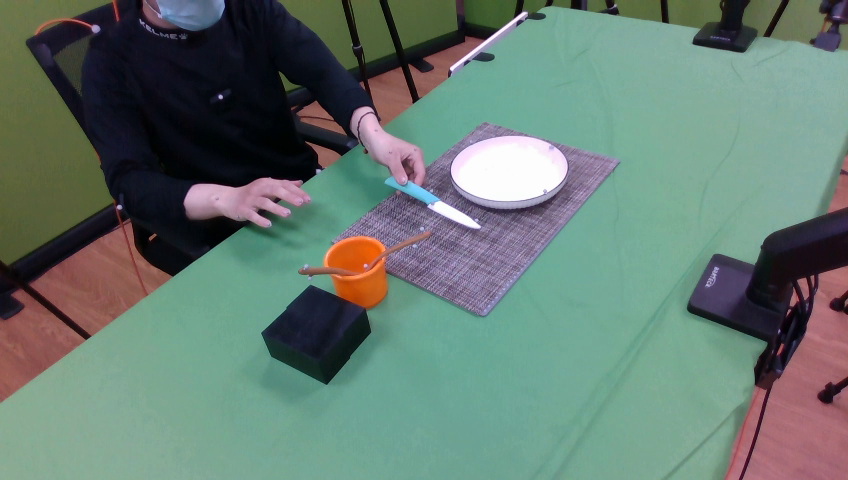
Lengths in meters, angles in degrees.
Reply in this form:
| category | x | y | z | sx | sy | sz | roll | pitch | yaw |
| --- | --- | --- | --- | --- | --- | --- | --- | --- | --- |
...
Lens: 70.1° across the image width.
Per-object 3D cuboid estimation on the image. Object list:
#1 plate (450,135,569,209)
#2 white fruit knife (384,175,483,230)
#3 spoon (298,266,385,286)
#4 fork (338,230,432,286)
| category | x | y | z | sx | sy | sz | roll | pitch | yaw |
| --- | --- | --- | --- | --- | --- | --- | --- | --- | --- |
| plate | 0.149 | -0.117 | 1.066 | 0.209 | 0.038 | 0.208 | -4 | 41 | 4 |
| white fruit knife | 0.015 | -0.062 | 0.985 | 0.205 | 0.016 | 0.027 | 32 | 64 | 32 |
| spoon | -0.112 | 0.047 | 0.826 | 0.041 | 0.195 | 0.021 | -25 | 71 | 23 |
| fork | -0.058 | 0.028 | 0.846 | 0.206 | 0.018 | 0.028 | -34 | 5 | 43 |
